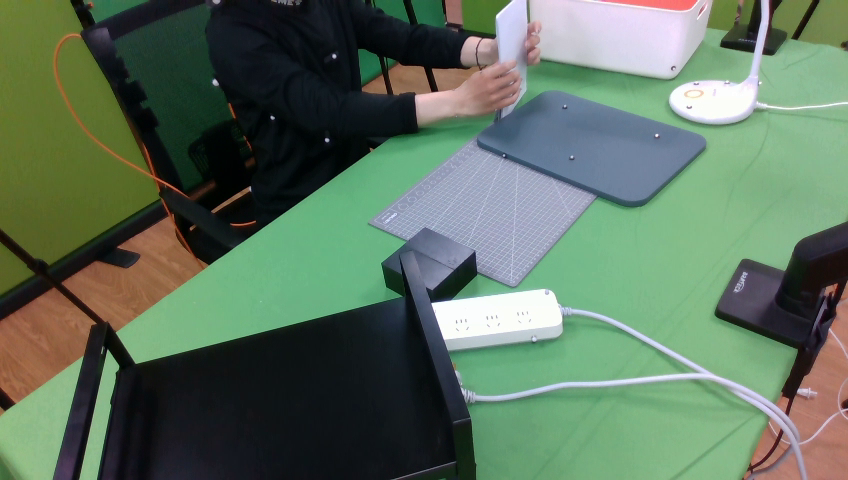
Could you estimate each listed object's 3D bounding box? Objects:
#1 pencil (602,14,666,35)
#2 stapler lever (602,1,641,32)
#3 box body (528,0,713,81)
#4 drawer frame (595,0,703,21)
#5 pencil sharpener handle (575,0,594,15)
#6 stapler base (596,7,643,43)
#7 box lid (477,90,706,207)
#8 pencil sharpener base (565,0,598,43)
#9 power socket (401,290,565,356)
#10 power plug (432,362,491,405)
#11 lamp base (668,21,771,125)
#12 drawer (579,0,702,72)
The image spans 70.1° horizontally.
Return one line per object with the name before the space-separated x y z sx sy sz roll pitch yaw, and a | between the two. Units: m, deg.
pencil | 0.483 -0.494 1.388 0.195 0.012 0.012 -22 42 -20
stapler lever | 0.451 -0.516 1.378 0.118 0.040 0.026 -39 63 -18
box body | 0.450 -0.512 1.398 0.361 0.161 0.254 19 48 28
drawer frame | 0.487 -0.489 1.360 0.212 0.083 0.202 24 62 20
pencil sharpener handle | 0.401 -0.594 1.511 0.036 0.067 0.030 36 49 -1
stapler base | 0.453 -0.502 1.397 0.131 0.024 0.041 -39 63 -19
box lid | 0.310 -0.190 1.157 0.368 0.015 0.264 30 52 35
pencil sharpener base | 0.388 -0.550 1.483 0.061 0.107 0.077 14 44 23
power socket | 0.080 0.112 0.821 0.227 0.033 0.072 -7 41 0
power plug | 0.045 0.182 0.758 0.073 0.035 0.052 22 43 -18
lamp base | 0.577 -0.333 1.155 0.179 0.181 0.160 6 42 12
drawer | 0.484 -0.489 1.361 0.210 0.073 0.194 24 63 21
